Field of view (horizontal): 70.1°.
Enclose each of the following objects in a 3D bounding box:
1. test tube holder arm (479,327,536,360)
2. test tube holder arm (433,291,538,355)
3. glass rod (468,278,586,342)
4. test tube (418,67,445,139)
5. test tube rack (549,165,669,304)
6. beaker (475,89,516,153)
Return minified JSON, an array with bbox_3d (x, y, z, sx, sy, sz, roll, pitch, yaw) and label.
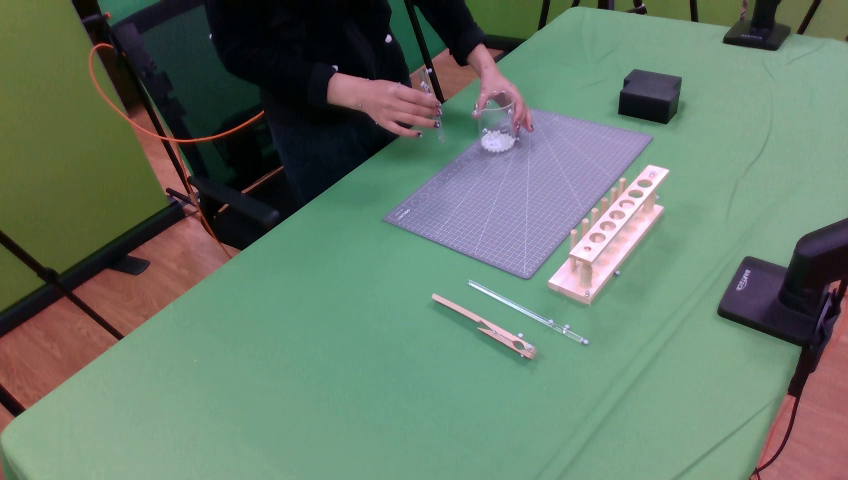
[{"bbox_3d":[0.110,0.134,0.805,0.087,0.015,0.010,29,83,36],"label":"test tube holder arm"},{"bbox_3d":[0.081,0.112,0.832,0.177,0.015,0.013,29,82,36],"label":"test tube holder arm"},{"bbox_3d":[0.140,0.096,0.853,0.198,0.008,0.008,27,52,35],"label":"glass rod"},{"bbox_3d":[0.014,-0.236,1.060,0.017,0.151,0.017,-9,49,10],"label":"test tube"},{"bbox_3d":[0.279,-0.018,0.902,0.066,0.085,0.243,24,50,33],"label":"test tube rack"},{"bbox_3d":[0.137,-0.224,1.155,0.084,0.101,0.073,-31,45,-23],"label":"beaker"}]
